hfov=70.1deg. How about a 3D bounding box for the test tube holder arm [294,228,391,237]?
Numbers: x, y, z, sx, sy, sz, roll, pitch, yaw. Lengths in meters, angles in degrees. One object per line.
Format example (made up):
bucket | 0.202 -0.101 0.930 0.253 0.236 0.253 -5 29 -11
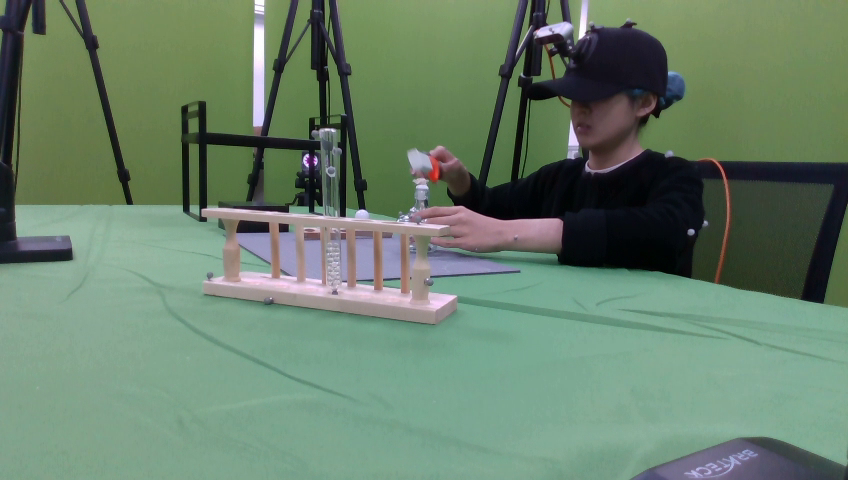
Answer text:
test tube holder arm | -0.138 -0.013 1.054 0.179 0.015 0.013 -1 44 -32

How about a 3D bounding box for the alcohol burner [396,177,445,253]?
alcohol burner | -0.005 -0.039 0.943 0.078 0.119 0.078 5 7 0

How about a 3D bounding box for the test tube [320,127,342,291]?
test tube | -0.084 -0.027 0.554 0.017 0.150 0.017 -1 7 0

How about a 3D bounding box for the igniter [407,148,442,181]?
igniter | 0.006 -0.134 1.080 0.025 0.057 0.277 -19 0 9

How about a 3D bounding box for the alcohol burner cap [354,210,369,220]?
alcohol burner cap | -0.118 -0.033 1.134 0.034 0.048 0.034 1 8 0

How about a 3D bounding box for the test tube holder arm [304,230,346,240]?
test tube holder arm | -0.175 -0.009 1.027 0.088 0.015 0.010 0 43 -31

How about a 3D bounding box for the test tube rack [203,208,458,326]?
test tube rack | -0.090 0.019 0.579 0.241 0.085 0.067 5 7 19
